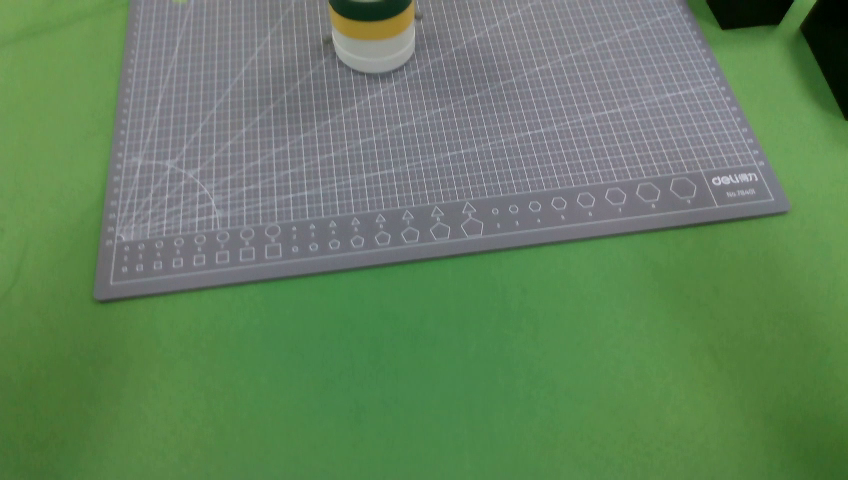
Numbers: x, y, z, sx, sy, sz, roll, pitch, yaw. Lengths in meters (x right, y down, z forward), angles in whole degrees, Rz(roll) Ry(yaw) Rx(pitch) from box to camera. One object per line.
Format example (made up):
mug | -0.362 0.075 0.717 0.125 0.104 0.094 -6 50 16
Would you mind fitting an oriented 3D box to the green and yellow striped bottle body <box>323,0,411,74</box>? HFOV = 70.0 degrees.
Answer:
green and yellow striped bottle body | -0.041 -0.179 0.418 0.063 0.120 0.062 0 61 0
